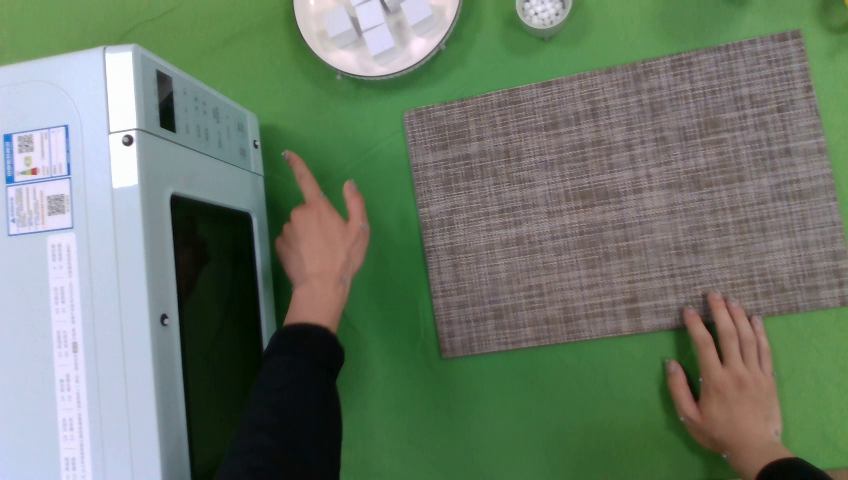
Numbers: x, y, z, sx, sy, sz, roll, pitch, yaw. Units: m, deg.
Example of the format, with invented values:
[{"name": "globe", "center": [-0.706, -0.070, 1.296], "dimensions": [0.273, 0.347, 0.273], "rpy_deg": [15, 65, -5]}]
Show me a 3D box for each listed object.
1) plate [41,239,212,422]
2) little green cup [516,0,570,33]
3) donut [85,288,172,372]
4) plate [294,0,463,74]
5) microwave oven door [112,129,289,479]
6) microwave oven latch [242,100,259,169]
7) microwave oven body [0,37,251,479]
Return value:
[{"name": "plate", "center": [-0.338, 0.103, 0.701], "dimensions": [0.209, 0.038, 0.209], "rpy_deg": [-1, 87, 10]}, {"name": "little green cup", "center": [0.137, -0.270, 0.693], "dimensions": [0.061, 0.039, 0.061], "rpy_deg": [-1, 87, 11]}, {"name": "donut", "center": [-0.336, 0.103, 0.691], "dimensions": [0.099, 0.048, 0.099], "rpy_deg": [1, 97, 7]}, {"name": "plate", "center": [-0.052, -0.299, 0.729], "dimensions": [0.207, 0.039, 0.207], "rpy_deg": [-1, 87, 10]}, {"name": "microwave oven door", "center": [-0.217, 0.087, 0.621], "dimensions": [0.039, 0.244, 0.355], "rpy_deg": [-7, 86, 10]}, {"name": "microwave oven latch", "center": [-0.218, -0.126, 0.733], "dimensions": [0.030, 0.029, 0.079], "rpy_deg": [-4, 88, 10]}, {"name": "microwave oven body", "center": [-0.363, 0.061, 0.654], "dimensions": [0.325, 0.261, 0.441], "rpy_deg": [-6, 87, 10]}]
